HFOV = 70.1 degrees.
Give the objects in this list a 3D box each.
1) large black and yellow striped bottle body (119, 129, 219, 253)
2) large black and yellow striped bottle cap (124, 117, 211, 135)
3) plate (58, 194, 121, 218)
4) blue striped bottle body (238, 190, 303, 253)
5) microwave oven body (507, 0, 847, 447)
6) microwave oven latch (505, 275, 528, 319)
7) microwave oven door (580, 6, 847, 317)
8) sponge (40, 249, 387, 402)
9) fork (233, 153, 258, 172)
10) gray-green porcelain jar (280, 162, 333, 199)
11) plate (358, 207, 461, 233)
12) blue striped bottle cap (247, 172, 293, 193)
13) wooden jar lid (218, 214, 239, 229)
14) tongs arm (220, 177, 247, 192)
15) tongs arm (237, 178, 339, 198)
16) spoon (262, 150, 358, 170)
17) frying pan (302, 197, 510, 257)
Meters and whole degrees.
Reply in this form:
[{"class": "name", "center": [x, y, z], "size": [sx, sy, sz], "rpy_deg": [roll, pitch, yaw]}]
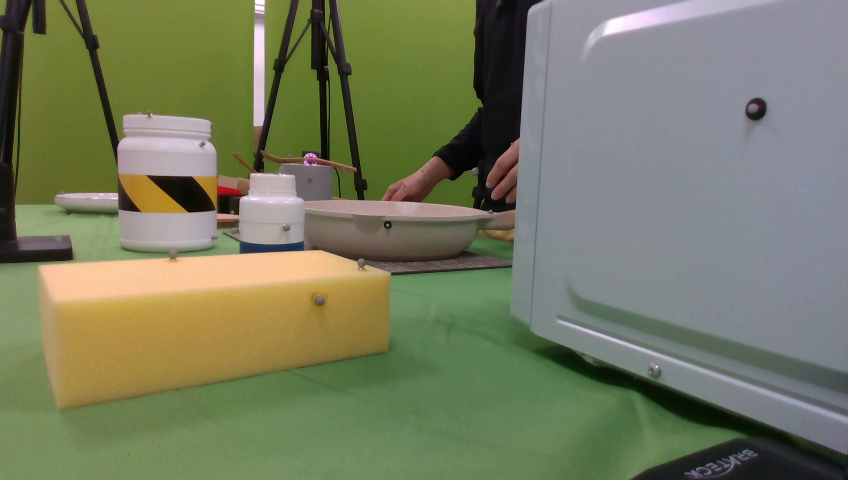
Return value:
[{"class": "large black and yellow striped bottle body", "center": [-0.367, -0.080, 0.876], "size": [0.131, 0.184, 0.130], "rpy_deg": [2, 7, 0]}, {"class": "large black and yellow striped bottle cap", "center": [-0.366, -0.163, 0.866], "size": [0.115, 0.019, 0.115], "rpy_deg": [3, 7, 0]}, {"class": "plate", "center": [-0.671, -0.074, 1.310], "size": [0.209, 0.038, 0.209], "rpy_deg": [2, 8, 0]}, {"class": "blue striped bottle body", "center": [-0.153, -0.007, 0.606], "size": [0.063, 0.120, 0.063], "rpy_deg": [2, 8, 0]}, {"class": "microwave oven body", "center": [0.331, -0.042, 0.425], "size": [0.444, 0.260, 0.324], "rpy_deg": [-2, 8, -31]}, {"class": "microwave oven latch", "center": [0.100, 0.041, 0.471], "size": [0.079, 0.029, 0.030], "rpy_deg": [-1, 7, -28]}, {"class": "microwave oven door", "center": [0.294, -0.067, 0.570], "size": [0.358, 0.243, 0.039], "rpy_deg": [-3, 9, -31]}, {"class": "sponge", "center": [-0.142, 0.047, 0.420], "size": [0.208, 0.061, 0.117], "rpy_deg": [-3, 8, -36]}, {"class": "fork", "center": [-0.396, -0.143, 1.486], "size": [0.028, 0.018, 0.208], "rpy_deg": [20, -26, 45]}, {"class": "gray-green porcelain jar", "center": [-0.238, -0.092, 1.221], "size": [0.106, 0.126, 0.106], "rpy_deg": [2, 7, 0]}, {"class": "plate", "center": [-0.030, -0.041, 1.213], "size": [0.208, 0.039, 0.207], "rpy_deg": [3, 6, 0]}, {"class": "blue striped bottle cap", "center": [-0.152, -0.057, 0.598], "size": [0.044, 0.020, 0.044], "rpy_deg": [3, 7, 0]}, {"class": "wooden jar lid", "center": [-0.404, -0.037, 1.169], "size": [0.108, 0.020, 0.108], "rpy_deg": [3, 7, 0]}, {"class": "tongs arm", "center": [-0.285, -0.103, 1.444], "size": [0.389, 0.027, 0.028], "rpy_deg": [9, -5, -24]}, {"class": "tongs arm", "center": [-0.242, -0.095, 1.374], "size": [0.387, 0.026, 0.050], "rpy_deg": [9, -1, -37]}, {"class": "spoon", "center": [-0.229, -0.161, 1.222], "size": [0.194, 0.021, 0.041], "rpy_deg": [4, 5, -16]}, {"class": "frying pan", "center": [0.051, -0.035, 0.915], "size": [0.487, 0.102, 0.307], "rpy_deg": [-5, 7, 11]}]
